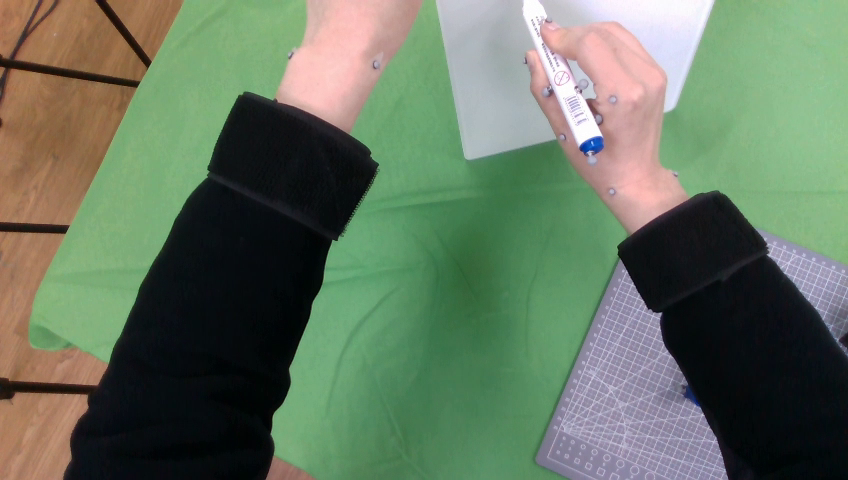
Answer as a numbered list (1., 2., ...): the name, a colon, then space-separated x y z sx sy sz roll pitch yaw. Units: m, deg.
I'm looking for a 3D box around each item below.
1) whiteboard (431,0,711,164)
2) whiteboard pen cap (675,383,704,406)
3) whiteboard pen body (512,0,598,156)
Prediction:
1. whiteboard: 0.109 -0.223 0.506 0.217 0.308 0.142 -12 67 4
2. whiteboard pen cap: 0.254 0.147 0.582 0.018 0.033 0.018 0 89 3
3. whiteboard pen body: 0.081 -0.116 0.397 0.017 0.017 0.139 -20 69 3
